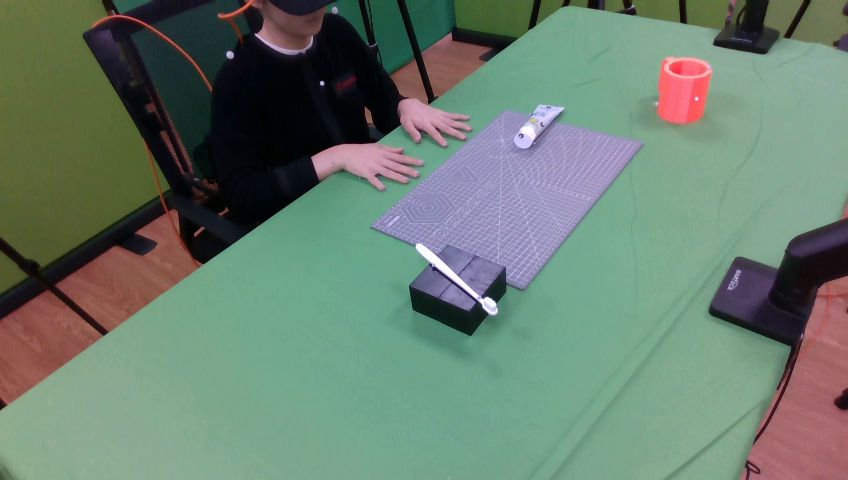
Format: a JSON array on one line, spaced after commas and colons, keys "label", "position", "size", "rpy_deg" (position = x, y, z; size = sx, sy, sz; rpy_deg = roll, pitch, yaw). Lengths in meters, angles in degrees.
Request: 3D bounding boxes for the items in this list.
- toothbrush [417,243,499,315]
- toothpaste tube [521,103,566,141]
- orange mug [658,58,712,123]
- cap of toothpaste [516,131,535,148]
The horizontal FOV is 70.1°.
[{"label": "toothbrush", "position": [0.043, 0.049, 0.842], "size": [0.014, 0.017, 0.180], "rpy_deg": [-30, 45, -21]}, {"label": "toothpaste tube", "position": [0.234, -0.238, 1.209], "size": [0.055, 0.034, 0.165], "rpy_deg": [18, 43, 21]}, {"label": "orange mug", "position": [0.504, -0.304, 1.193], "size": [0.083, 0.101, 0.125], "rpy_deg": [-13, 45, -5]}, {"label": "cap of toothpaste", "position": [0.194, -0.193, 1.153], "size": [0.037, 0.037, 0.011], "rpy_deg": [7, 44, 17]}]
